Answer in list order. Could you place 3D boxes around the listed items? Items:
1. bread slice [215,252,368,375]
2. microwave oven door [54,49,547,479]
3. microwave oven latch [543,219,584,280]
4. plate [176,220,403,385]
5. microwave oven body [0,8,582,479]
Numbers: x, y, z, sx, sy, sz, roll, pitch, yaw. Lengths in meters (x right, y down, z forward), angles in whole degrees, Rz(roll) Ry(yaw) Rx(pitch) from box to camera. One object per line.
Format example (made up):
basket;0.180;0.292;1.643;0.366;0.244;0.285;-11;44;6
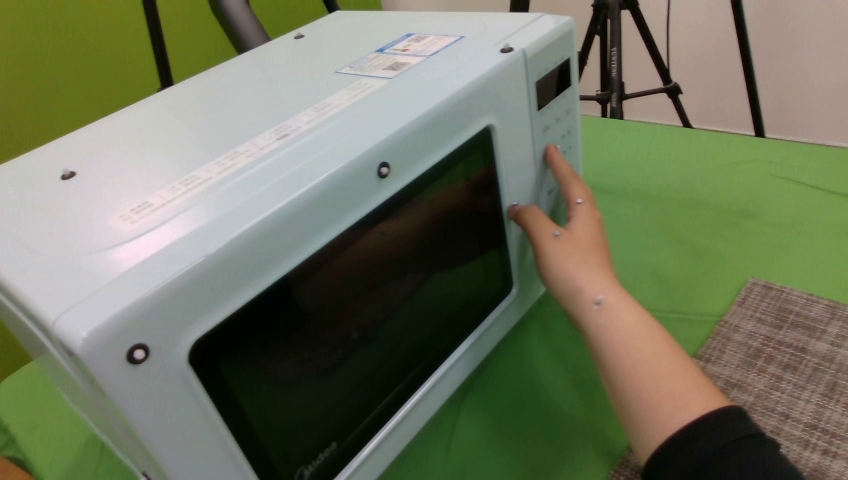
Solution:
bread slice;-0.119;0.057;0.560;0.131;0.019;0.104;-36;40;-25
microwave oven door;-0.028;0.044;0.435;0.039;0.246;0.355;17;45;38
microwave oven latch;0.133;0.008;0.614;0.030;0.030;0.079;20;47;39
plate;-0.118;0.054;0.554;0.209;0.038;0.207;-10;34;7
microwave oven body;-0.110;-0.008;0.551;0.323;0.263;0.441;18;46;38
